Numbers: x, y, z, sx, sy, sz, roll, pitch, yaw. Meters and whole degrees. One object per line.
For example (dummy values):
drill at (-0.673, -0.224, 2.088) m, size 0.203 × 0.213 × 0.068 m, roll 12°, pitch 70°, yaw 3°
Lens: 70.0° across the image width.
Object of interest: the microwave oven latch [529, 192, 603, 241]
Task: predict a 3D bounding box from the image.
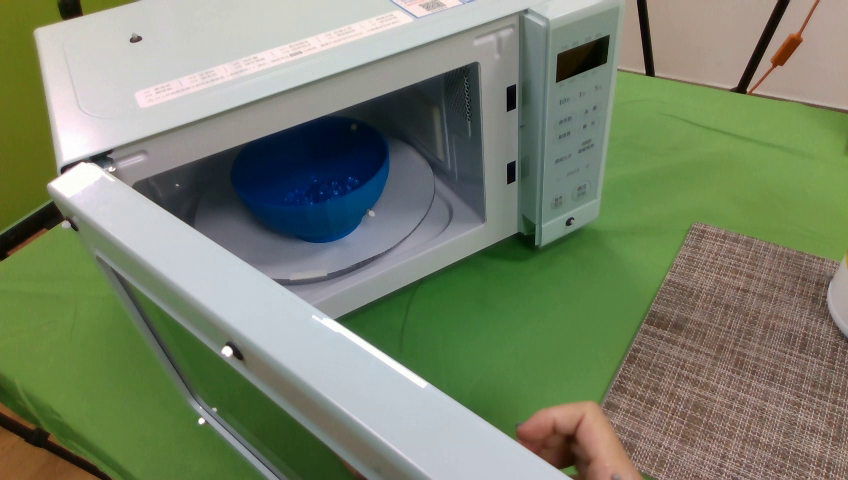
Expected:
microwave oven latch at (0.148, -0.030, 0.633) m, size 0.079 × 0.030 × 0.030 m, roll -24°, pitch 45°, yaw -16°

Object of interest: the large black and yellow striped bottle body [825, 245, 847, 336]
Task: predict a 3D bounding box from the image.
large black and yellow striped bottle body at (0.413, 0.002, 0.469) m, size 0.131 × 0.186 × 0.129 m, roll -4°, pitch 42°, yaw 4°

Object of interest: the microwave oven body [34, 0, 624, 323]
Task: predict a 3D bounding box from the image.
microwave oven body at (-0.088, -0.111, 0.612) m, size 0.442 × 0.263 × 0.322 m, roll -25°, pitch 45°, yaw -17°

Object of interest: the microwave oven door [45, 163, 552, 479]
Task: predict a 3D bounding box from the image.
microwave oven door at (-0.075, 0.110, 0.357) m, size 0.352 × 0.246 × 0.039 m, roll 26°, pitch 52°, yaw 32°

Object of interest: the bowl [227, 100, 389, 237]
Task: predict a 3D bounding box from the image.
bowl at (-0.103, -0.055, 0.587) m, size 0.151 × 0.077 × 0.150 m, roll -3°, pitch 54°, yaw 4°
